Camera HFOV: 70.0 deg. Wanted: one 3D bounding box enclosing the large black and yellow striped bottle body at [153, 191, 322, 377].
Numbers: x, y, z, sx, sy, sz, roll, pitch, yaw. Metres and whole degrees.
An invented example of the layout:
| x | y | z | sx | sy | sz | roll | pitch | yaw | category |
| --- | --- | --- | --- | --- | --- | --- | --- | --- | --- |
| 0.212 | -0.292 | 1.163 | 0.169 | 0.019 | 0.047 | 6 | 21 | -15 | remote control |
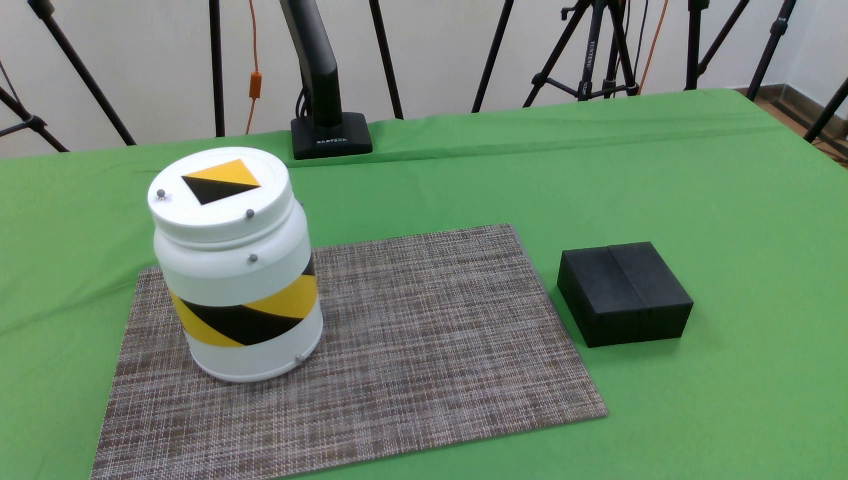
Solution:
| x | y | z | sx | sy | sz | roll | pitch | yaw | category |
| --- | --- | --- | --- | --- | --- | --- | --- | --- | --- |
| -0.171 | 0.024 | 0.569 | 0.131 | 0.185 | 0.129 | 0 | 39 | 1 | large black and yellow striped bottle body |

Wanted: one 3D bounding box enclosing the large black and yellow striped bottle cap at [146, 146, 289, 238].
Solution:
| x | y | z | sx | sy | sz | roll | pitch | yaw | category |
| --- | --- | --- | --- | --- | --- | --- | --- | --- | --- |
| -0.174 | -0.044 | 0.514 | 0.115 | 0.019 | 0.114 | 1 | 40 | 0 | large black and yellow striped bottle cap |
